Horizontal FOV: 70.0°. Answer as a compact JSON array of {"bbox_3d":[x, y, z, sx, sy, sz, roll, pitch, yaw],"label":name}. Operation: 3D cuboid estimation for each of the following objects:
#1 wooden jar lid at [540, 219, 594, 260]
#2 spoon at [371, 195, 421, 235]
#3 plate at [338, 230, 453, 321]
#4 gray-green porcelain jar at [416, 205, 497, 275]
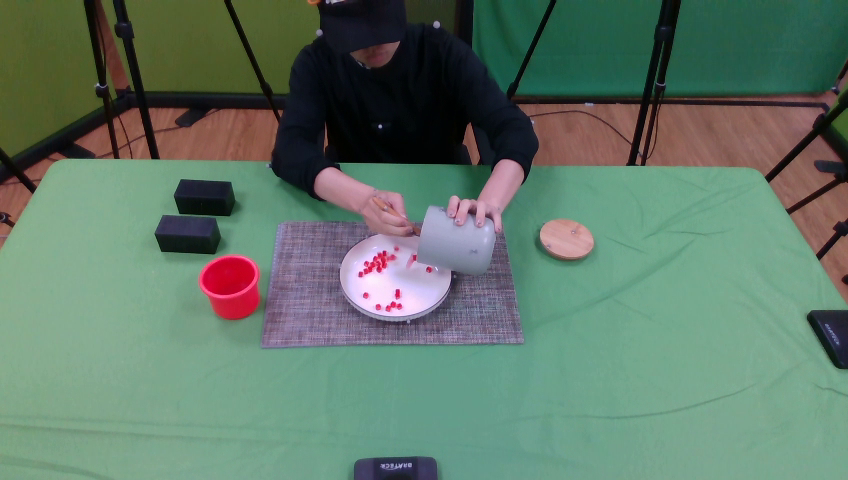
[{"bbox_3d":[0.286,0.001,1.218,0.108,0.021,0.107,1,46,-1],"label":"wooden jar lid"},{"bbox_3d":[-0.015,-0.021,1.061,0.194,0.021,0.041,31,49,-19],"label":"spoon"},{"bbox_3d":[-0.052,0.068,1.111,0.208,0.039,0.206,2,46,-2],"label":"plate"},{"bbox_3d":[0.059,0.002,1.060,0.126,0.106,0.105,12,46,5],"label":"gray-green porcelain jar"}]
